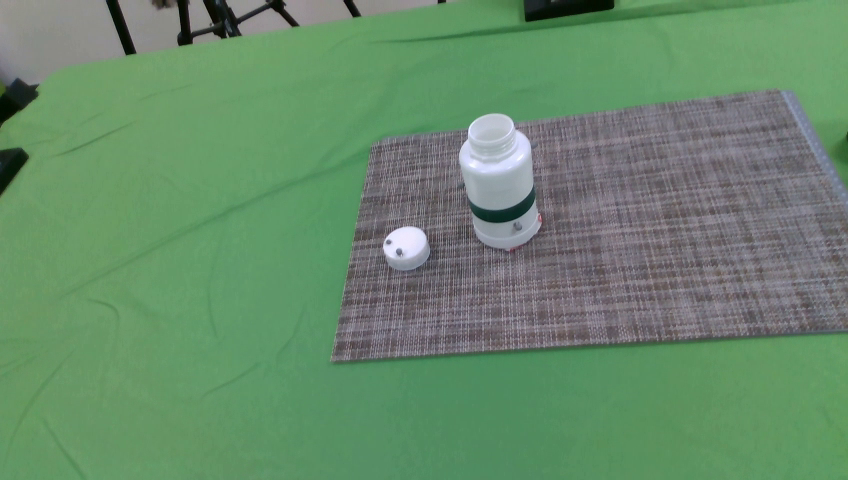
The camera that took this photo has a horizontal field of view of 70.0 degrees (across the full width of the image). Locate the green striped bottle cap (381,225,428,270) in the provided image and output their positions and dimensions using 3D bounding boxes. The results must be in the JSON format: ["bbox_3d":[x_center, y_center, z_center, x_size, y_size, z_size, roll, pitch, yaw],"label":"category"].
[{"bbox_3d":[-0.019,0.007,0.586,0.044,0.020,0.044,-6,47,7],"label":"green striped bottle cap"}]

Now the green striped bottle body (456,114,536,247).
[{"bbox_3d":[0.065,-0.054,0.544,0.063,0.120,0.062,-8,47,9],"label":"green striped bottle body"}]
